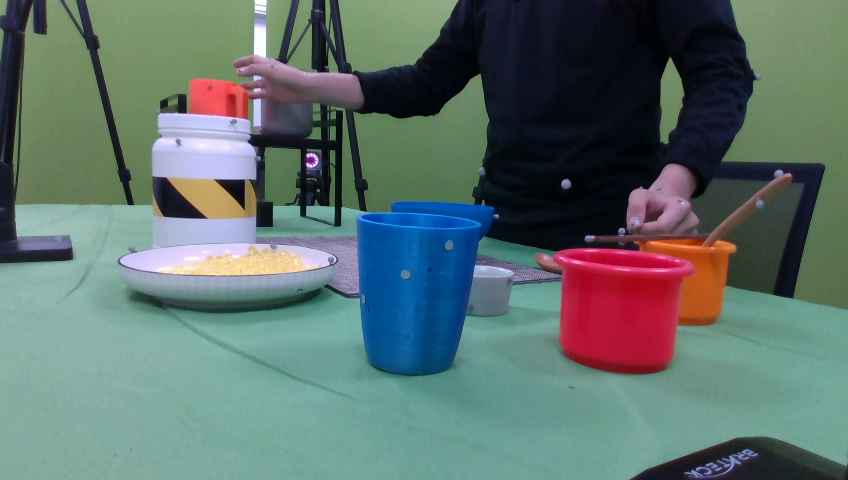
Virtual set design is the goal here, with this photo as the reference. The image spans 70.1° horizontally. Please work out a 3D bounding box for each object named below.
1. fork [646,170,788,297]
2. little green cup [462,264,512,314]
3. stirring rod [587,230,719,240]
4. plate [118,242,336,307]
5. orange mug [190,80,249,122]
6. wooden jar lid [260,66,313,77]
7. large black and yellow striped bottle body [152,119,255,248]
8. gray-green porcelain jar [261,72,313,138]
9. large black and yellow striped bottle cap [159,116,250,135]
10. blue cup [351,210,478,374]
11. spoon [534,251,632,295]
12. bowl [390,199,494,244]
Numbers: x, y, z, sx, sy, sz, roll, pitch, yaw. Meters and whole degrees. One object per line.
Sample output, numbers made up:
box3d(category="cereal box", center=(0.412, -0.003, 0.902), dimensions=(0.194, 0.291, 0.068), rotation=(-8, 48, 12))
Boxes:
box3d(category="fork", center=(0.256, 0.004, 0.543), dimensions=(0.028, 0.018, 0.207), rotation=(3, -36, -9))
box3d(category="little green cup", center=(0.053, 0.047, 0.580), dimensions=(0.061, 0.038, 0.061), rotation=(3, 8, 0))
box3d(category="stirring rod", center=(0.226, -0.006, 0.587), dimensions=(0.177, 0.006, 0.014), rotation=(-2, 10, -30))
box3d(category="plate", center=(-0.194, 0.033, 0.615), dimensions=(0.209, 0.038, 0.209), rotation=(2, 7, 0))
box3d(category="orange mug", center=(-0.393, -0.257, 1.173), dimensions=(0.126, 0.100, 0.084), rotation=(1, 6, 25))
box3d(category="wooden jar lid", center=(-0.283, -0.339, 1.244), dimensions=(0.108, 0.020, 0.108), rotation=(5, 8, 0))
box3d(category="large black and yellow striped bottle body", center=(-0.296, -0.070, 0.819), dimensions=(0.131, 0.184, 0.130), rotation=(2, 7, 0))
box3d(category="gray-green porcelain jar", center=(-0.284, -0.276, 1.253), dimensions=(0.106, 0.126, 0.106), rotation=(3, 8, 0))
box3d(category="large black and yellow striped bottle cap", center=(-0.292, -0.153, 0.810), dimensions=(0.115, 0.019, 0.115), rotation=(3, 8, 0))
box3d(category="blue cup", center=(-0.009, 0.034, 0.414), dimensions=(0.093, 0.100, 0.092), rotation=(4, 8, 0))
box3d(category="spoon", center=(0.193, 0.038, 0.753), dimensions=(0.042, 0.021, 0.193), rotation=(14, 2, -20))
box3d(category="bowl", center=(0.024, -0.015, 0.872), dimensions=(0.151, 0.077, 0.151), rotation=(3, 7, 0))
